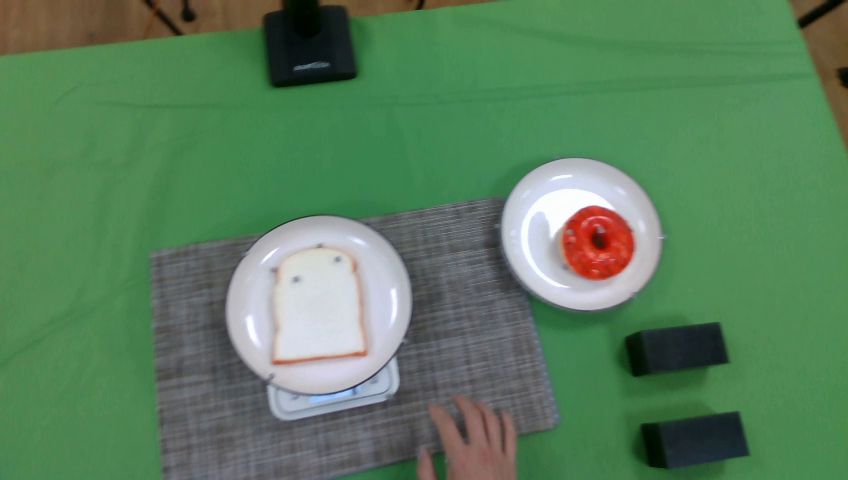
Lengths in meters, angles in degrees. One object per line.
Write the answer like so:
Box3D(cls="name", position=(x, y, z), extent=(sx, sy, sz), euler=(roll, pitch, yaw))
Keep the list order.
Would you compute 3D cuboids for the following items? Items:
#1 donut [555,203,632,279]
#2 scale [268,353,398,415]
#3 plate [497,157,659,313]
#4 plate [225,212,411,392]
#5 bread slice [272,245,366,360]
Box3D(cls="donut", position=(0.215, 0.002, 0.769), extent=(0.099, 0.048, 0.098), euler=(2, 76, -7))
Box3D(cls="scale", position=(-0.118, 0.097, 0.723), extent=(0.149, 0.032, 0.199), euler=(-9, 74, -7))
Box3D(cls="plate", position=(0.194, -0.006, 0.782), extent=(0.208, 0.039, 0.206), euler=(2, 73, -4))
Box3D(cls="plate", position=(-0.119, 0.070, 0.697), extent=(0.209, 0.038, 0.208), euler=(2, 73, -5))
Box3D(cls="bread slice", position=(-0.126, 0.070, 0.699), extent=(0.105, 0.019, 0.130), euler=(-5, 74, -8))
